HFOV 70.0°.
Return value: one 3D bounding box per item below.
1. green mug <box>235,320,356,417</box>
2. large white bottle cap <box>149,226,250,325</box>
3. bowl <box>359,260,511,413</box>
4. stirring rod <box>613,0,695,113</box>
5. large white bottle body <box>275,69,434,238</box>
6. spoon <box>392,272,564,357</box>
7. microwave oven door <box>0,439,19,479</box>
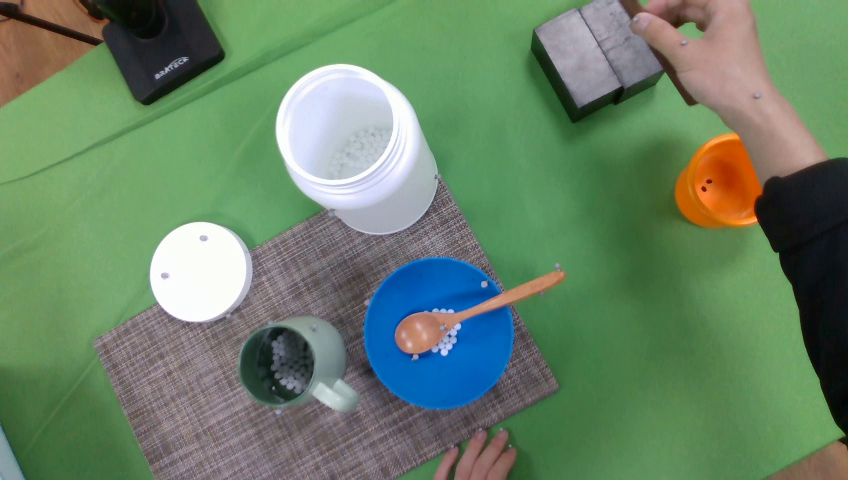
[{"bbox_3d":[-0.124,0.139,0.627,0.125,0.105,0.092,34,87,8],"label":"green mug"},{"bbox_3d":[-0.258,0.041,0.694,0.115,0.018,0.114,-1,83,6],"label":"large white bottle cap"},{"bbox_3d":[0.014,0.098,0.631,0.151,0.077,0.151,-1,84,6],"label":"bowl"},{"bbox_3d":[0.189,-0.177,0.522,0.177,0.014,0.006,47,49,-24],"label":"stirring rod"},{"bbox_3d":[-0.064,-0.080,0.603,0.130,0.185,0.130,-1,80,7],"label":"large white bottle body"},{"bbox_3d":[0.050,0.073,0.601,0.193,0.022,0.041,-25,84,27],"label":"spoon"},{"bbox_3d":[-0.426,0.360,0.552,0.039,0.244,0.354,-31,82,2],"label":"microwave oven door"}]
